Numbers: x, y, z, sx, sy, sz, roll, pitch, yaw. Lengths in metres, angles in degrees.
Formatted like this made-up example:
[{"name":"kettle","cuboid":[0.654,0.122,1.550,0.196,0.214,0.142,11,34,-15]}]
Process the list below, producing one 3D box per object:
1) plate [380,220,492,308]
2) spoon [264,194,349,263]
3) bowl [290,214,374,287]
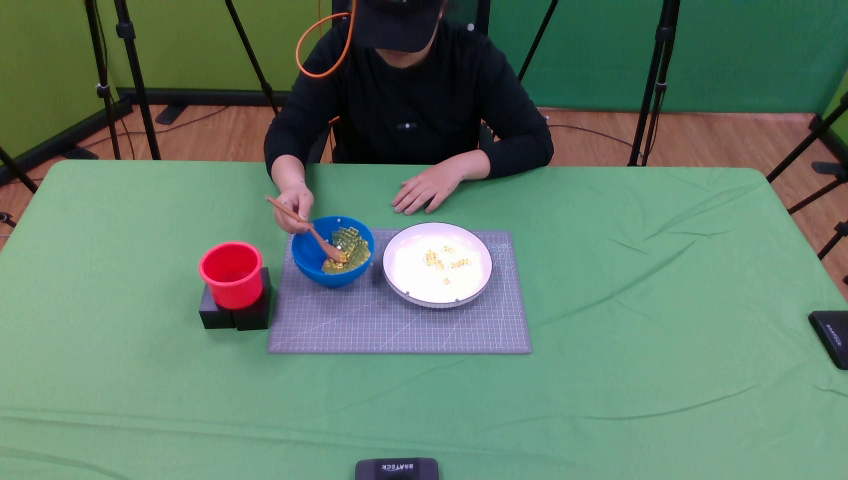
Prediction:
[{"name":"plate","cuboid":[0.022,0.048,1.137,0.208,0.039,0.206,2,46,-2]},{"name":"spoon","cuboid":[-0.209,-0.021,1.090,0.021,0.195,0.041,-37,27,16]},{"name":"bowl","cuboid":[-0.165,0.032,1.111,0.151,0.077,0.150,2,46,-2]}]
